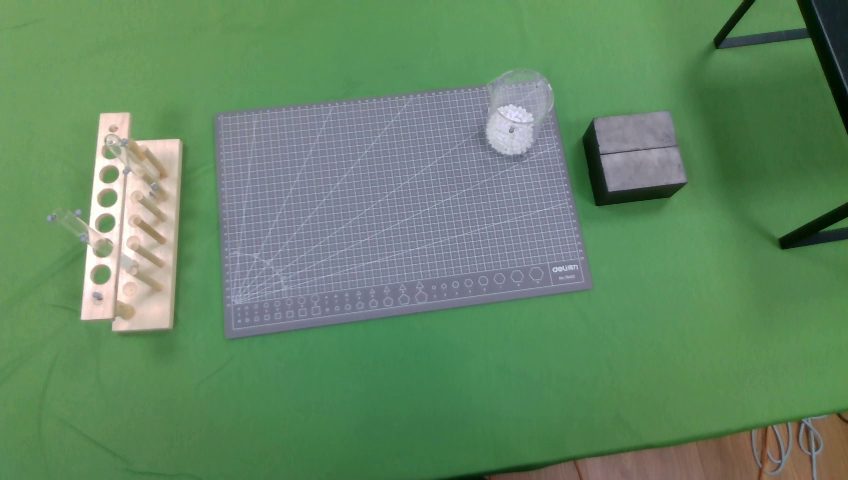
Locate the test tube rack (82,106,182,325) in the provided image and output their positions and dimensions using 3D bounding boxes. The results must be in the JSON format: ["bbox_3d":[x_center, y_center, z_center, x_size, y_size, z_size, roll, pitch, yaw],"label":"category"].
[{"bbox_3d":[-0.337,-0.028,0.712,0.067,0.085,0.241,-3,74,-3],"label":"test tube rack"}]

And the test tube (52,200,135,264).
[{"bbox_3d":[-0.352,-0.005,0.654,0.017,0.151,0.017,0,68,1],"label":"test tube"}]

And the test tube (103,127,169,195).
[{"bbox_3d":[-0.321,-0.086,0.682,0.017,0.151,0.017,1,72,-2],"label":"test tube"}]

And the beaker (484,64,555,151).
[{"bbox_3d":[0.112,-0.162,0.758,0.084,0.101,0.073,23,74,6],"label":"beaker"}]
